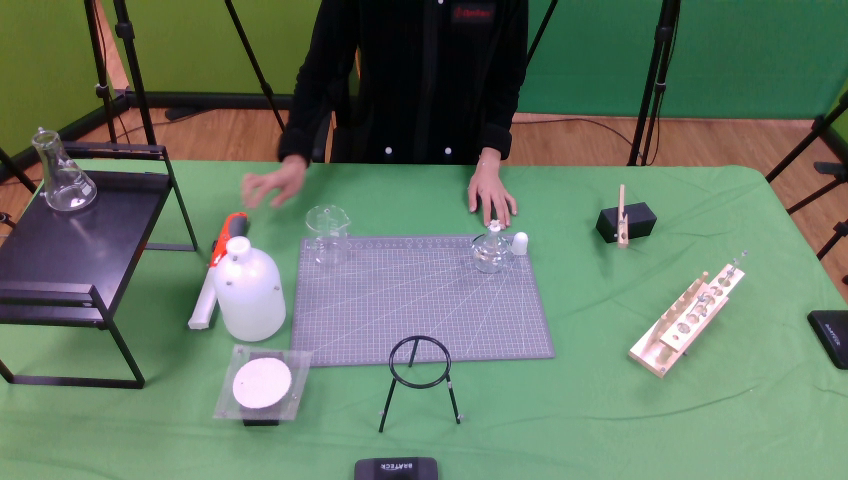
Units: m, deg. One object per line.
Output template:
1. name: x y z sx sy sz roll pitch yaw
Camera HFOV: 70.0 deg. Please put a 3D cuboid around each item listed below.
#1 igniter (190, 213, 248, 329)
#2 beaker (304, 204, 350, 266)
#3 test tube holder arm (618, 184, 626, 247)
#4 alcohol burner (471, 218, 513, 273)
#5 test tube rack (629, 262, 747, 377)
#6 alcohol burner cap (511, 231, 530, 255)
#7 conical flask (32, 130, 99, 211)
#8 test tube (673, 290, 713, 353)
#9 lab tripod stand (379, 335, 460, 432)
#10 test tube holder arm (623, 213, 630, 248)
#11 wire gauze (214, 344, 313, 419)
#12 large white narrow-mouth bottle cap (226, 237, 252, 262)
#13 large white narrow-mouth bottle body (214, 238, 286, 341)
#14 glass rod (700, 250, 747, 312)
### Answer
1. igniter: -0.375 0.047 1.121 0.057 0.025 0.275 -1 45 3
2. beaker: -0.178 -0.006 1.132 0.084 0.101 0.073 4 46 -1
3. test tube holder arm: 0.396 -0.053 1.210 0.013 0.015 0.177 14 46 1
4. alcohol burner: 0.128 0.005 1.132 0.078 0.120 0.077 0 47 0
5. test tube rack: 0.464 0.126 1.060 0.242 0.085 0.066 -34 56 -31
6. alcohol burner cap: 0.191 0.003 1.188 0.034 0.048 0.033 2 46 -2
7. conical flask: -0.565 -0.110 0.944 0.075 0.122 0.075 2 46 -2
8. test tube: 0.429 0.135 0.981 0.017 0.151 0.017 4 44 -4
9. lab tripod stand: -0.011 0.214 0.911 0.148 0.132 0.147 1 45 0
10. test tube holder arm: 0.393 -0.020 1.179 0.010 0.015 0.087 14 46 1
11. wire gauze: -0.241 0.213 0.915 0.121 0.011 0.124 5 46 1
12. large white narrow-mouth bottle cap: -0.282 0.014 0.923 0.038 0.024 0.037 2 46 -2
13. large white narrow-mouth bottle body: -0.285 0.073 0.986 0.102 0.195 0.101 2 46 -2
14. glass rod: 0.500 0.075 1.021 0.008 0.201 0.008 0 54 1
